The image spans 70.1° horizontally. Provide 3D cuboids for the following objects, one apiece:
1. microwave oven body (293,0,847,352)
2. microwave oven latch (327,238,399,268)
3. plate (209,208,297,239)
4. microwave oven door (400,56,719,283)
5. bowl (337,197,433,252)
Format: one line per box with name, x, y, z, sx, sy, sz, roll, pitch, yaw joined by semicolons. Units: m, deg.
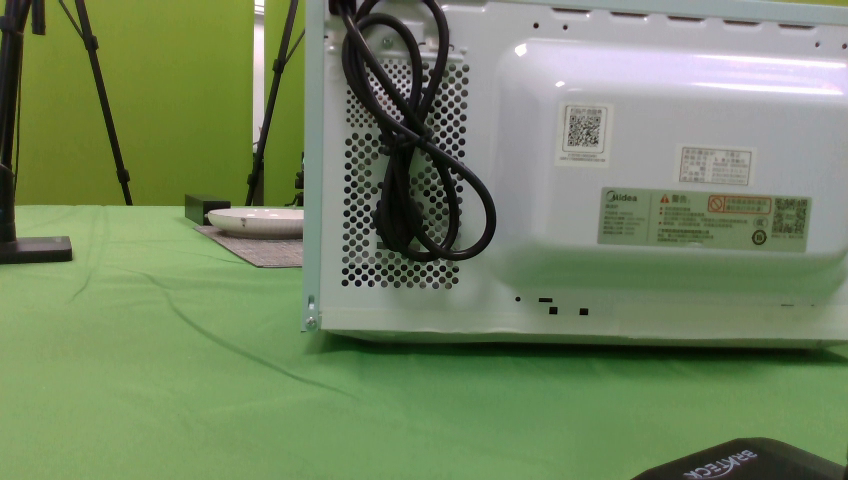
microwave oven body;0.122;-0.055;0.550;0.442;0.260;0.325;3;7;-5
microwave oven latch;-0.069;0.015;0.694;0.079;0.029;0.030;3;7;-3
plate;-0.271;-0.029;1.074;0.208;0.039;0.207;3;7;0
microwave oven door;0.155;-0.078;0.698;0.356;0.243;0.039;2;8;-5
bowl;-0.062;-0.025;0.955;0.151;0.077;0.151;3;8;0
